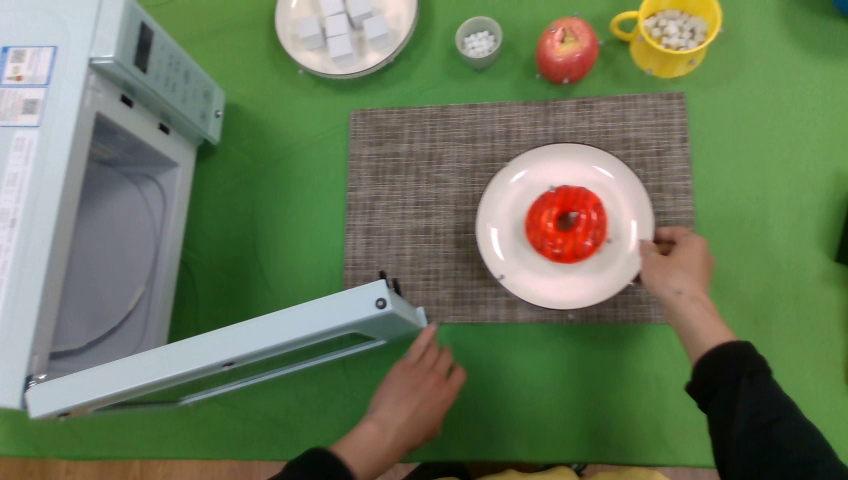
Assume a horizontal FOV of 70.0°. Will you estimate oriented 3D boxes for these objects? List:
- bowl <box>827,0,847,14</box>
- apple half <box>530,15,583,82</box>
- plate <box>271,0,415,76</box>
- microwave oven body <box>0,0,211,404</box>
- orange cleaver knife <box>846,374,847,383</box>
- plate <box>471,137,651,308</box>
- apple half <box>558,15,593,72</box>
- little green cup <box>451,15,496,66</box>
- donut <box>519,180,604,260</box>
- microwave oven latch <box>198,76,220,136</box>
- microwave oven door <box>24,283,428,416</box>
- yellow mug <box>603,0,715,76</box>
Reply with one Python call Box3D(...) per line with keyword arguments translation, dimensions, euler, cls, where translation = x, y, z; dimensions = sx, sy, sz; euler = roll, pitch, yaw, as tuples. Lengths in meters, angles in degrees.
Box3D(translation=(0.560, -0.339, 0.760), dimensions=(0.151, 0.077, 0.150), euler=(-2, 78, 8), cls="bowl")
Box3D(translation=(0.167, -0.243, 0.796), dimensions=(0.053, 0.075, 0.080), euler=(-28, 80, 6), cls="apple half")
Box3D(translation=(-0.113, -0.327, 0.868), dimensions=(0.207, 0.039, 0.206), euler=(-2, 78, 7), cls="plate")
Box3D(translation=(-0.476, -0.039, 0.738), dimensions=(0.325, 0.261, 0.440), euler=(2, 79, 8), cls="microwave oven body")
Box3D(translation=(0.522, 0.066, 0.676), dimensions=(0.012, 0.077, 0.212), euler=(18, 113, 13), cls="orange cleaver knife")
Box3D(translation=(0.161, -0.021, 0.729), dimensions=(0.209, 0.038, 0.208), euler=(-3, 77, 11), cls="plate")
Box3D(translation=(0.202, -0.261, 0.794), dimensions=(0.033, 0.082, 0.081), euler=(-28, 75, 6), cls="apple half")
Box3D(translation=(0.069, -0.272, 0.832), dimensions=(0.061, 0.039, 0.061), euler=(-2, 78, 8), cls="little green cup")
Box3D(translation=(0.163, -0.024, 0.718), dimensions=(0.099, 0.048, 0.098), euler=(-2, 79, 13), cls="donut")
Box3D(translation=(-0.306, -0.187, 0.845), dimensions=(0.030, 0.029, 0.079), euler=(3, 80, 8), cls="microwave oven latch")
Box3D(translation=(-0.185, 0.122, 0.661), dimensions=(0.356, 0.245, 0.039), euler=(-17, 75, 4), cls="microwave oven door")
Box3D(translation=(0.300, -0.276, 0.788), dimensions=(0.130, 0.064, 0.099), euler=(10, 79, 10), cls="yellow mug")
